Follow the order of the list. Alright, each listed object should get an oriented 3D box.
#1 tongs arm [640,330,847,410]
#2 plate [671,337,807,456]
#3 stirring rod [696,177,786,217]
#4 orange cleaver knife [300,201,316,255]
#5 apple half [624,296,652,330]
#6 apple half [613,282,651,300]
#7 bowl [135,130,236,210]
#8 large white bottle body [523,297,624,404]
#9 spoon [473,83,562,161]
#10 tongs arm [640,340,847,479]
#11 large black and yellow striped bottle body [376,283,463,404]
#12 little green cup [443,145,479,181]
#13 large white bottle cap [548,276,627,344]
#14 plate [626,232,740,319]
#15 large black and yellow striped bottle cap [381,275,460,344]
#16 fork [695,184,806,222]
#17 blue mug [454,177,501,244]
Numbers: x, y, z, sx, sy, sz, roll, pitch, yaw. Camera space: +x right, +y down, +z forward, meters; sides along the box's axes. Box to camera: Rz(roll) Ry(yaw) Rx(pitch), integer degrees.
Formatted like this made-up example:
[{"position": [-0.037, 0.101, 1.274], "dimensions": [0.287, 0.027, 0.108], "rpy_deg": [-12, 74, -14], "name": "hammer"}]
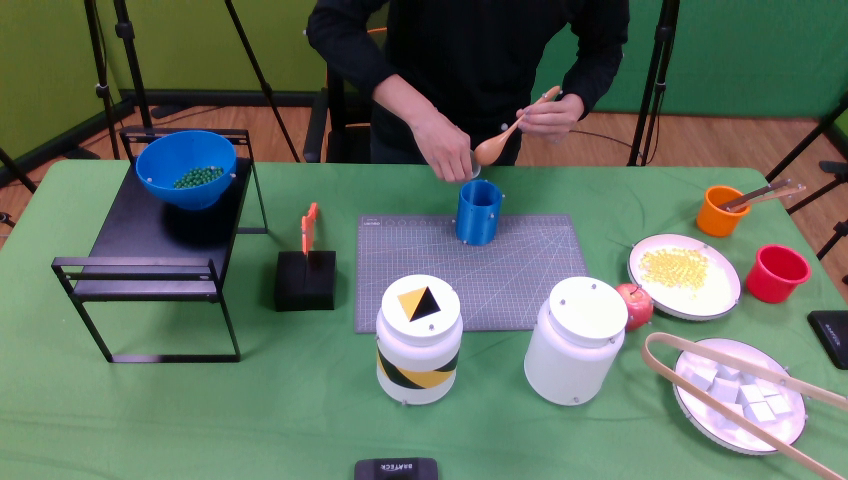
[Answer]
[{"position": [0.543, 0.225, 0.969], "dimensions": [0.384, 0.026, 0.050], "rpy_deg": [22, 52, 13], "name": "tongs arm"}, {"position": [0.504, 0.254, 0.984], "dimensions": [0.208, 0.039, 0.206], "rpy_deg": [2, 46, -2], "name": "plate"}, {"position": [0.648, -0.087, 1.244], "dimensions": [0.176, 0.006, 0.014], "rpy_deg": [-25, 50, 29], "name": "stirring rod"}, {"position": [-0.221, -0.027, 1.160], "dimensions": [0.012, 0.077, 0.210], "rpy_deg": [-2, 15, -4], "name": "orange cleaver knife"}, {"position": [0.368, 0.135, 1.060], "dimensions": [0.081, 0.081, 0.032], "rpy_deg": [-11, 43, -15], "name": "apple half"}, {"position": [0.356, 0.109, 1.086], "dimensions": [0.081, 0.075, 0.053], "rpy_deg": [-14, 45, -12], "name": "apple half"}, {"position": [-0.375, -0.102, 0.978], "dimensions": [0.151, 0.077, 0.150], "rpy_deg": [2, 46, -2], "name": "bowl"}, {"position": [0.235, 0.159, 0.952], "dimensions": [0.131, 0.185, 0.130], "rpy_deg": [2, 47, -2], "name": "large white bottle body"}, {"position": [0.163, -0.208, 1.059], "dimensions": [0.194, 0.042, 0.021], "rpy_deg": [-42, 16, 3], "name": "spoon"}, {"position": [0.500, 0.277, 0.919], "dimensions": [0.386, 0.028, 0.028], "rpy_deg": [34, 59, 22], "name": "tongs arm"}, {"position": [-0.010, 0.155, 0.937], "dimensions": [0.131, 0.185, 0.130], "rpy_deg": [2, 47, -2], "name": "large black and yellow striped bottle body"}, {"position": [0.066, -0.138, 1.105], "dimensions": [0.062, 0.038, 0.061], "rpy_deg": [11, 69, -29], "name": "little green cup"}, {"position": [0.240, 0.100, 0.890], "dimensions": [0.115, 0.018, 0.114], "rpy_deg": [3, 47, -3], "name": "large white bottle cap"}, {"position": [0.488, 0.070, 1.156], "dimensions": [0.209, 0.038, 0.208], "rpy_deg": [3, 46, -2], "name": "plate"}, {"position": [-0.005, 0.098, 0.875], "dimensions": [0.115, 0.019, 0.114], "rpy_deg": [2, 45, -2], "name": "large black and yellow striped bottle cap"}, {"position": [0.658, -0.074, 1.230], "dimensions": [0.207, 0.019, 0.028], "rpy_deg": [-24, 33, 36], "name": "fork"}, {"position": [0.106, -0.067, 1.208], "dimensions": [0.082, 0.106, 0.116], "rpy_deg": [6, 46, 1], "name": "blue mug"}]
